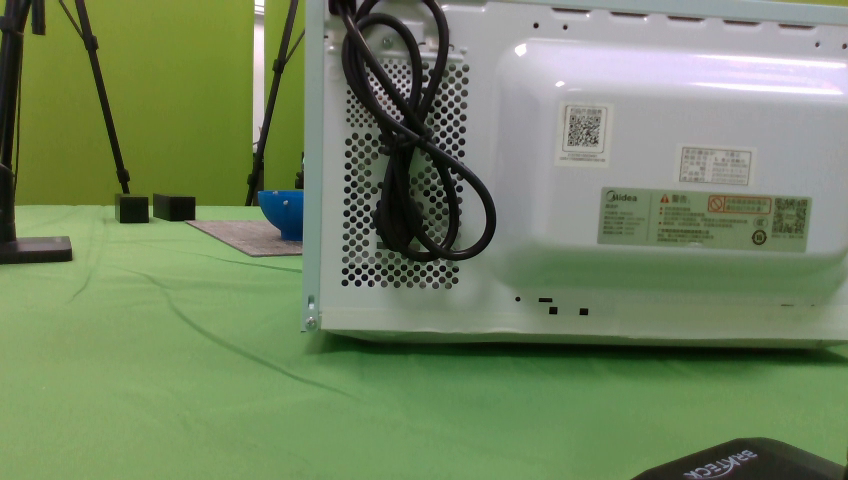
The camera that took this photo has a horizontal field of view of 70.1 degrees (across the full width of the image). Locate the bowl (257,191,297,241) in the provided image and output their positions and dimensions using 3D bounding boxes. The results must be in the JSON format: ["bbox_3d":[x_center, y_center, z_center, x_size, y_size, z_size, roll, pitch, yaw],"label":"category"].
[{"bbox_3d":[-0.206,-0.041,1.027,0.151,0.077,0.151,3,8,0],"label":"bowl"}]

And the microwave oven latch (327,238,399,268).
[{"bbox_3d":[-0.069,0.015,0.694,0.079,0.029,0.030,3,7,-3],"label":"microwave oven latch"}]

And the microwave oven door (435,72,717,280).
[{"bbox_3d":[0.180,-0.089,0.795,0.354,0.243,0.039,6,7,30],"label":"microwave oven door"}]

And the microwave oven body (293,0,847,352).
[{"bbox_3d":[0.122,-0.055,0.550,0.442,0.260,0.325,3,7,-5],"label":"microwave oven body"}]

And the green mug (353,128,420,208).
[{"bbox_3d":[-0.053,-0.102,0.851,0.093,0.105,0.125,1,8,-12],"label":"green mug"}]
